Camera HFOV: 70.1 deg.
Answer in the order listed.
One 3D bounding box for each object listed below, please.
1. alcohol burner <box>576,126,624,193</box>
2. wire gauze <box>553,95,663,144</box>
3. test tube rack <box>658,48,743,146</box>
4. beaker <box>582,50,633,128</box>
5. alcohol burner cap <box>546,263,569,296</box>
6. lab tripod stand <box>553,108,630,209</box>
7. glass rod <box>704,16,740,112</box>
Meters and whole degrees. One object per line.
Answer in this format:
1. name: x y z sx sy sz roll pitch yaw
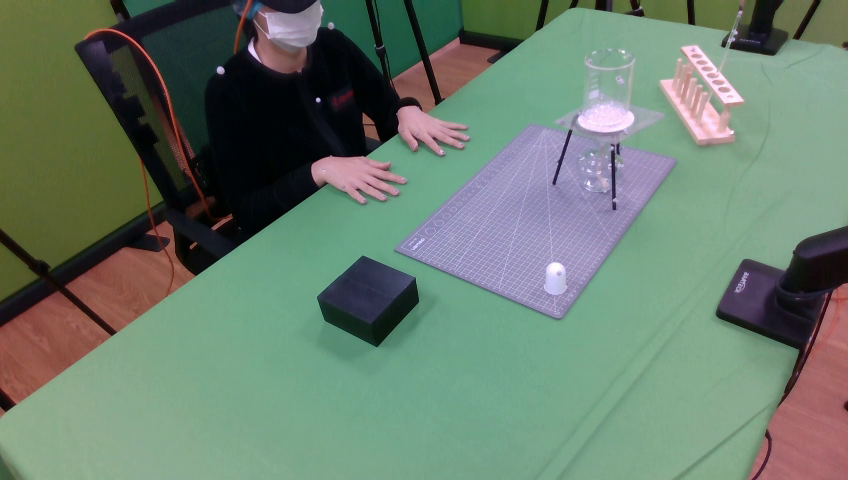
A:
1. alcohol burner: 0.298 -0.140 1.019 0.078 0.119 0.077 -3 40 3
2. wire gauze: 0.293 -0.191 0.964 0.125 0.011 0.120 -29 45 -29
3. test tube rack: 0.532 -0.284 1.180 0.067 0.085 0.241 -5 40 4
4. beaker: 0.285 -0.234 0.939 0.084 0.101 0.073 -28 43 -23
5. alcohol burner cap: 0.191 0.053 0.862 0.034 0.048 0.033 -5 40 4
6. lab tripod stand: 0.292 -0.144 1.010 0.148 0.132 0.147 -5 38 4
7. glass rod: 0.549 -0.319 1.117 0.008 0.200 0.008 -2 47 3
